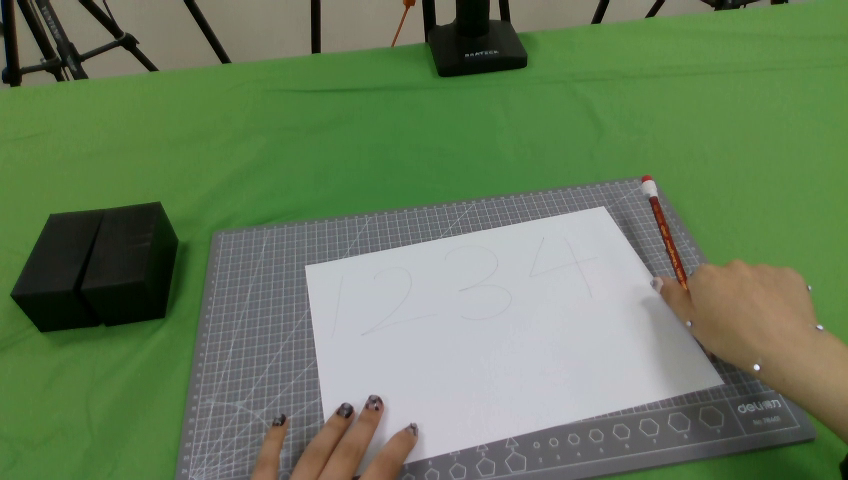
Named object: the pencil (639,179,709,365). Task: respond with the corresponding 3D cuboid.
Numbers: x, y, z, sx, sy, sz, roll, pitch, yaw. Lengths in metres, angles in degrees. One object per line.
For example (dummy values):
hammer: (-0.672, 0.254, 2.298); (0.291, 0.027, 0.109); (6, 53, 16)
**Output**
pencil: (0.211, 0.019, 0.516); (0.012, 0.012, 0.192); (-3, 52, 0)
